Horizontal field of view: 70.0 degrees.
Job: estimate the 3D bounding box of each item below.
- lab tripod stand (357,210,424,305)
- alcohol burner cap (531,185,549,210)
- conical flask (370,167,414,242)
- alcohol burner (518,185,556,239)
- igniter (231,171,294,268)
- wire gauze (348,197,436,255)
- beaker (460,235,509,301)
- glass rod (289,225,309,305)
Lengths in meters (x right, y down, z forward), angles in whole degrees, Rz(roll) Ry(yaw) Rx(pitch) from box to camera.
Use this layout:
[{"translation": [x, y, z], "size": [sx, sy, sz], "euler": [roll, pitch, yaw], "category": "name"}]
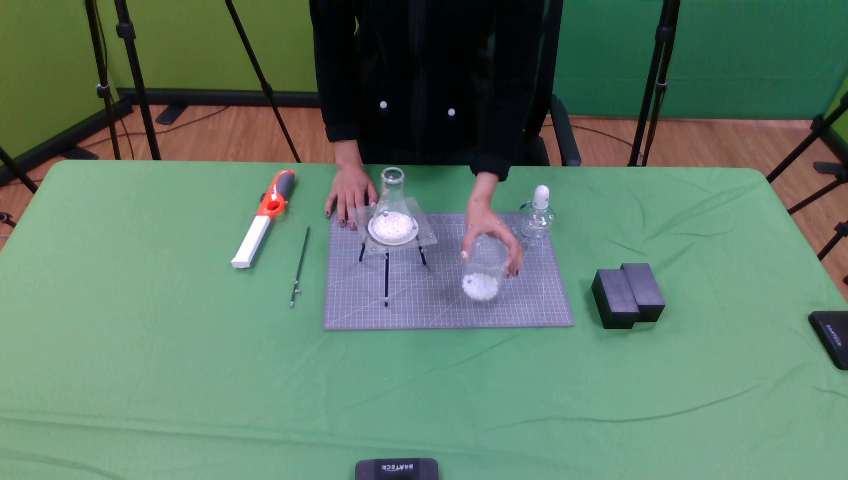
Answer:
[{"translation": [-0.061, 0.021, 1.094], "size": [0.148, 0.132, 0.147], "euler": [3, 44, -2], "category": "lab tripod stand"}, {"translation": [0.228, -0.085, 1.183], "size": [0.034, 0.048, 0.033], "euler": [-1, 47, 2], "category": "alcohol burner cap"}, {"translation": [-0.053, -0.062, 1.000], "size": [0.075, 0.122, 0.075], "euler": [2, 44, -2], "category": "conical flask"}, {"translation": [0.227, -0.061, 1.209], "size": [0.078, 0.120, 0.077], "euler": [1, 44, -1], "category": "alcohol burner"}, {"translation": [-0.321, -0.050, 1.220], "size": [0.057, 0.025, 0.275], "euler": [2, 45, 12], "category": "igniter"}, {"translation": [-0.056, -0.025, 1.046], "size": [0.125, 0.011, 0.120], "euler": [-14, 46, -15], "category": "wire gauze"}, {"translation": [0.100, 0.053, 1.053], "size": [0.084, 0.101, 0.073], "euler": [-24, 53, -26], "category": "beaker"}, {"translation": [-0.236, 0.043, 1.149], "size": [0.008, 0.008, 0.198], "euler": [3, 46, -1], "category": "glass rod"}]
